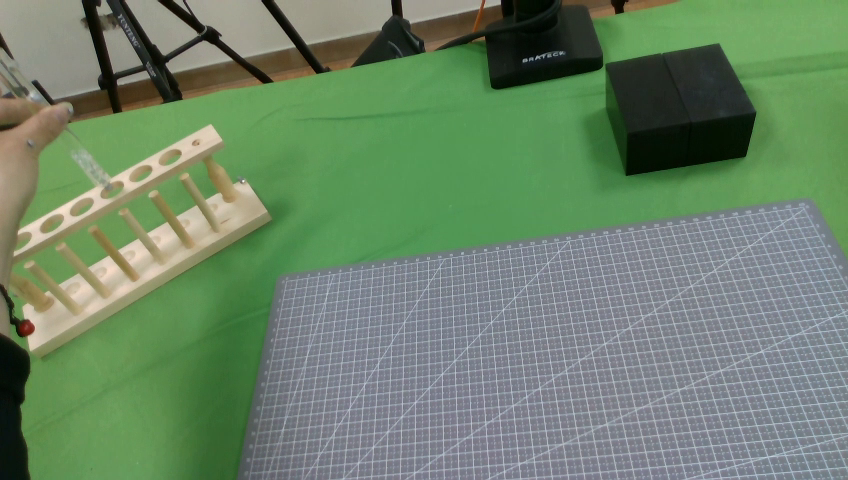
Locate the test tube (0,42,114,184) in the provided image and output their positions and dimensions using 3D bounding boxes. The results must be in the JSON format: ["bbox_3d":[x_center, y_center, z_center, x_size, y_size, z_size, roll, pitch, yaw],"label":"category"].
[{"bbox_3d":[-0.288,-0.093,0.477,0.017,0.151,0.017,-2,59,4],"label":"test tube"}]

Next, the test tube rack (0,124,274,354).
[{"bbox_3d":[-0.275,-0.004,0.568,0.242,0.086,0.066,-33,50,-12],"label":"test tube rack"}]
